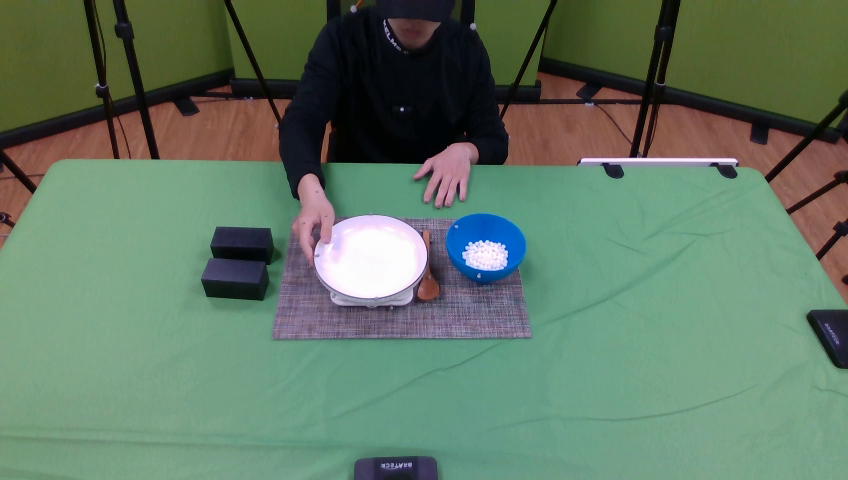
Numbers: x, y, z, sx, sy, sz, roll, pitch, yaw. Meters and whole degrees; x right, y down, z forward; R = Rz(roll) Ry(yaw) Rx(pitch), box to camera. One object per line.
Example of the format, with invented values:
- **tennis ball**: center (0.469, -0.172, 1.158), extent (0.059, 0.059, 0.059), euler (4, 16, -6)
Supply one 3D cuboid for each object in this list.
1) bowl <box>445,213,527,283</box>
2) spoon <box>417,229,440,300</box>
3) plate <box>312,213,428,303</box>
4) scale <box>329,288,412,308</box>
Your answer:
- **bowl**: center (0.112, 0.027, 1.136), extent (0.151, 0.077, 0.150), euler (2, 46, -2)
- **spoon**: center (0.006, 0.043, 1.152), extent (0.041, 0.022, 0.192), euler (-9, 45, 7)
- **plate**: center (-0.097, 0.036, 1.100), extent (0.209, 0.038, 0.208), euler (2, 46, -2)
- **scale**: center (-0.098, 0.042, 1.139), extent (0.149, 0.032, 0.199), euler (0, 46, -4)
